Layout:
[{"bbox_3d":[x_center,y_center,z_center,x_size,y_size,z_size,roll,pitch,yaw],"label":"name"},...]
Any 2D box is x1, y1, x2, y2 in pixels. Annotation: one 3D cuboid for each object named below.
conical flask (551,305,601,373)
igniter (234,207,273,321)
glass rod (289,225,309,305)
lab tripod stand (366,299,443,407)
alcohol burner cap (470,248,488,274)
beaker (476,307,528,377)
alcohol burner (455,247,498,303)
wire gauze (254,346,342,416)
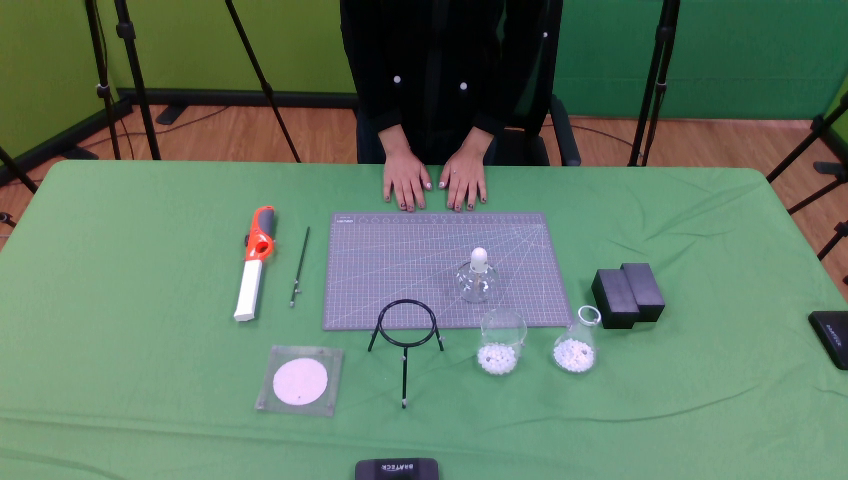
[{"bbox_3d":[0.257,0.158,0.998,0.075,0.122,0.075,2,46,-2],"label":"conical flask"},{"bbox_3d":[-0.319,0.035,1.137,0.057,0.025,0.274,-7,46,3],"label":"igniter"},{"bbox_3d":[-0.235,0.043,1.150,0.008,0.008,0.198,3,46,-1],"label":"glass rod"},{"bbox_3d":[-0.028,0.166,0.961,0.148,0.132,0.147,3,44,-2],"label":"lab tripod stand"},{"bbox_3d":[0.095,0.034,1.057,0.034,0.048,0.033,-3,53,4],"label":"alcohol burner cap"},{"bbox_3d":[0.122,0.171,0.991,0.084,0.101,0.073,-34,56,-31],"label":"beaker"},{"bbox_3d":[0.095,0.057,1.085,0.078,0.120,0.077,1,47,-1],"label":"alcohol burner"},{"bbox_3d":[-0.201,0.223,0.978,0.125,0.011,0.121,4,45,1],"label":"wire gauze"}]
